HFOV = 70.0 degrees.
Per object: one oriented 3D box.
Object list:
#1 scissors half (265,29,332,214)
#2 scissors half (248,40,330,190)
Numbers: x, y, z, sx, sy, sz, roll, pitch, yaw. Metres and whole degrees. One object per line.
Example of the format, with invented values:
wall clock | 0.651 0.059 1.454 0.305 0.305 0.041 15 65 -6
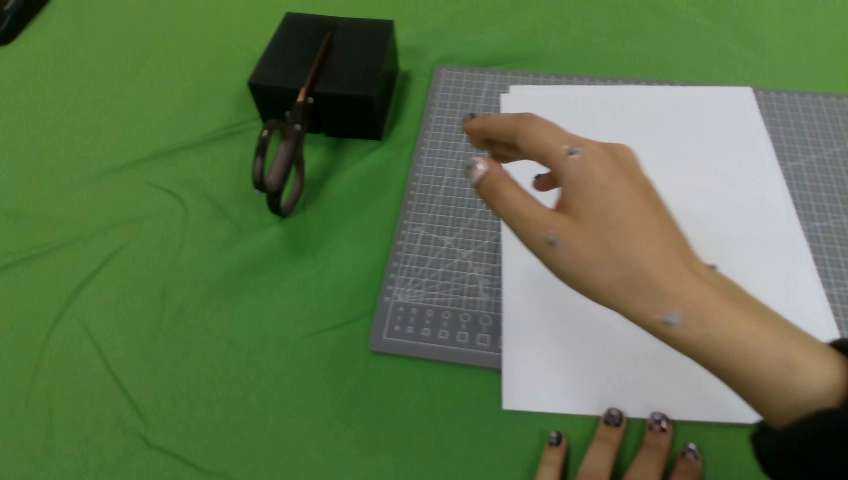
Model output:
scissors half | -0.096 -0.101 0.493 0.012 0.040 0.174 5 71 17
scissors half | -0.100 -0.110 0.475 0.013 0.040 0.174 8 54 12
